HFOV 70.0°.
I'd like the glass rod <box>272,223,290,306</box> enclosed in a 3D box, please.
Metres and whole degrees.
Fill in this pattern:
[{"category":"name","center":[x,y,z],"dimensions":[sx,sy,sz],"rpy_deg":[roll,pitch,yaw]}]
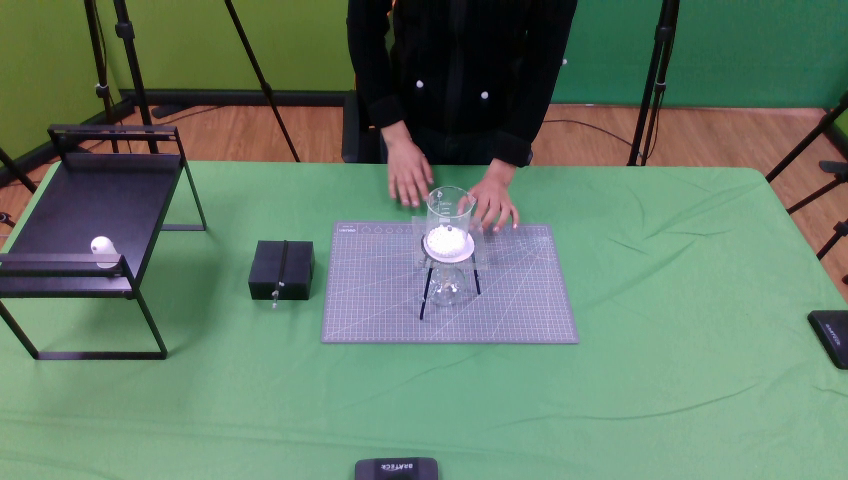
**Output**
[{"category":"glass rod","center":[-0.255,0.039,1.084],"dimensions":[0.008,0.008,0.198],"rpy_deg":[1,46,-3]}]

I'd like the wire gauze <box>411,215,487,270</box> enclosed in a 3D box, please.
[{"category":"wire gauze","center":[0.041,0.003,1.026],"dimensions":[0.125,0.011,0.120],"rpy_deg":[0,46,-1]}]

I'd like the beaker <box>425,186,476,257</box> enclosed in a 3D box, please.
[{"category":"beaker","center":[0.041,-0.028,0.989],"dimensions":[0.084,0.101,0.073],"rpy_deg":[-12,48,-15]}]

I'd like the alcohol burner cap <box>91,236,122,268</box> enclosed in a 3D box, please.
[{"category":"alcohol burner cap","center":[-0.465,0.015,0.883],"dimensions":[0.034,0.048,0.033],"rpy_deg":[1,47,-1]}]

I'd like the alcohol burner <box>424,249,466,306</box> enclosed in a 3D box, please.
[{"category":"alcohol burner","center":[0.038,0.061,1.075],"dimensions":[0.078,0.120,0.077],"rpy_deg":[2,44,-1]}]

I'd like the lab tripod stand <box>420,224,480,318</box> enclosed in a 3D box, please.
[{"category":"lab tripod stand","center":[0.034,0.051,1.070],"dimensions":[0.148,0.132,0.147],"rpy_deg":[3,48,-3]}]
